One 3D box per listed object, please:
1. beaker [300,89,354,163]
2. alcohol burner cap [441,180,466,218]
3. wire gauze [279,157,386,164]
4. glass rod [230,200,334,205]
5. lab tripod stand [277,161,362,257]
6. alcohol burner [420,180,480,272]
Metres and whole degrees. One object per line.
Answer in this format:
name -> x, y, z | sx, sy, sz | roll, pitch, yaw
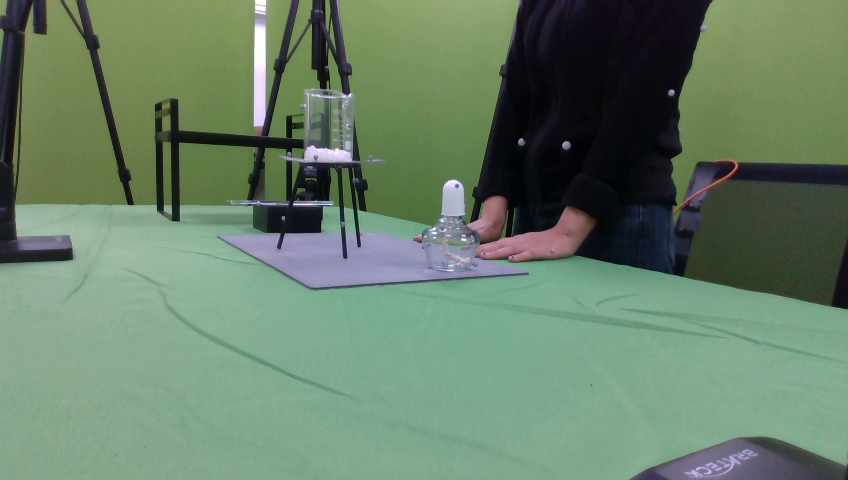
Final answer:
beaker -> -0.137, -0.161, 0.869 | 0.083, 0.100, 0.074 | 9, 10, 42
alcohol burner cap -> 0.038, -0.054, 0.781 | 0.034, 0.048, 0.034 | 0, 13, 0
wire gauze -> -0.134, -0.113, 0.875 | 0.122, 0.011, 0.124 | -1, 6, -30
glass rod -> -0.265, -0.071, 1.144 | 0.201, 0.008, 0.008 | -1, 8, -31
lab tripod stand -> -0.143, -0.049, 0.884 | 0.148, 0.131, 0.148 | 1, 9, 0
alcohol burner -> 0.035, -0.018, 0.785 | 0.078, 0.119, 0.078 | 4, 6, 0
